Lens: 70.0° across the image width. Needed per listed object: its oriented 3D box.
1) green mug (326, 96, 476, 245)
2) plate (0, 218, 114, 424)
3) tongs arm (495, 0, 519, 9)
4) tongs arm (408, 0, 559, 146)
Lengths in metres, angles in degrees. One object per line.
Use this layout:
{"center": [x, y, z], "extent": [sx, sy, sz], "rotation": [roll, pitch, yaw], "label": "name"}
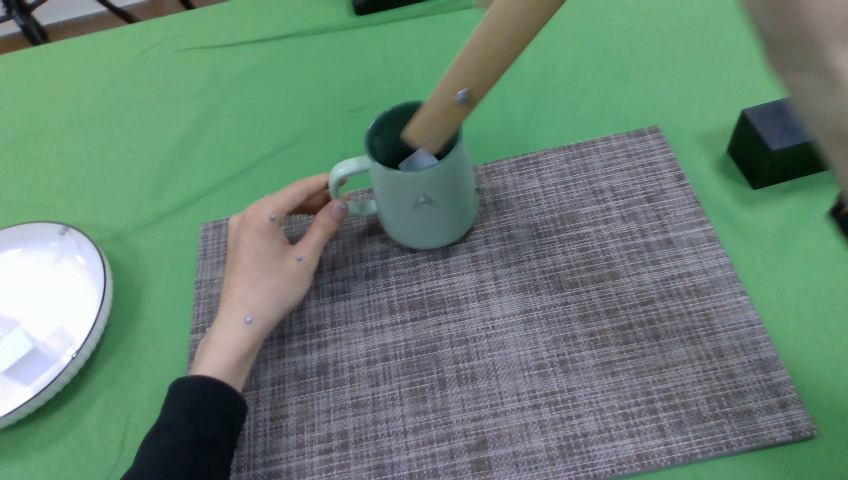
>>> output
{"center": [-0.020, -0.052, 0.514], "extent": [0.125, 0.106, 0.091], "rotation": [-13, 55, 1], "label": "green mug"}
{"center": [-0.372, 0.074, 0.536], "extent": [0.209, 0.038, 0.207], "rotation": [-4, 56, 7], "label": "plate"}
{"center": [0.101, -0.195, 0.246], "extent": [0.026, 0.385, 0.050], "rotation": [32, 70, -9], "label": "tongs arm"}
{"center": [0.072, -0.137, 0.220], "extent": [0.028, 0.388, 0.028], "rotation": [35, 59, -7], "label": "tongs arm"}
